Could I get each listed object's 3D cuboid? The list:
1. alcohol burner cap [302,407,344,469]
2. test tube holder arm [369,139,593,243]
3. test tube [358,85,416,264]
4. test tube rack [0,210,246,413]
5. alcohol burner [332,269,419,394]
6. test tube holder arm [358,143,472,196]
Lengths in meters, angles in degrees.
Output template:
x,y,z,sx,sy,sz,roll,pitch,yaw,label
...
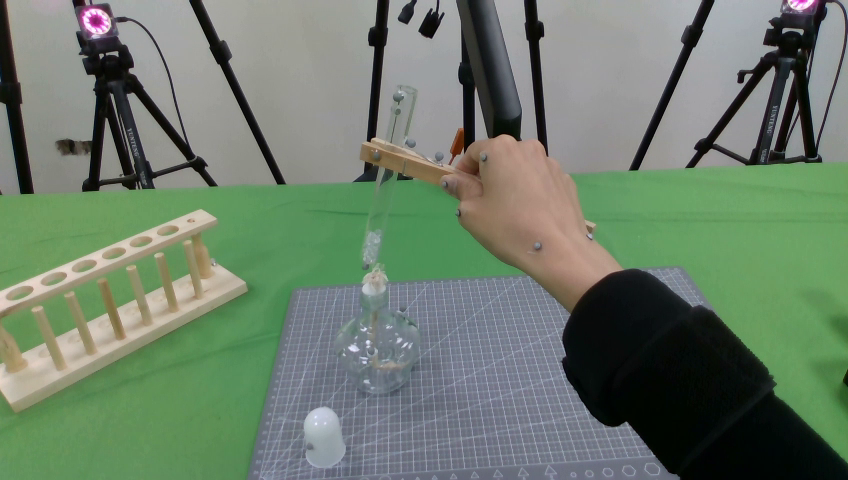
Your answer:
x,y,z,sx,sy,sz,roll,pitch,yaw,label
-0.083,0.155,0.484,0.034,0.048,0.033,-1,32,1,alcohol burner cap
0.036,-0.038,0.435,0.177,0.015,0.013,23,33,17,test tube holder arm
-0.030,-0.044,0.462,0.017,0.151,0.017,12,30,-7,test tube
-0.309,0.061,0.612,0.066,0.086,0.242,25,41,36,test tube rack
-0.044,0.077,0.538,0.078,0.120,0.077,-1,30,1,alcohol burner
-0.007,-0.052,0.442,0.087,0.015,0.010,19,31,11,test tube holder arm
